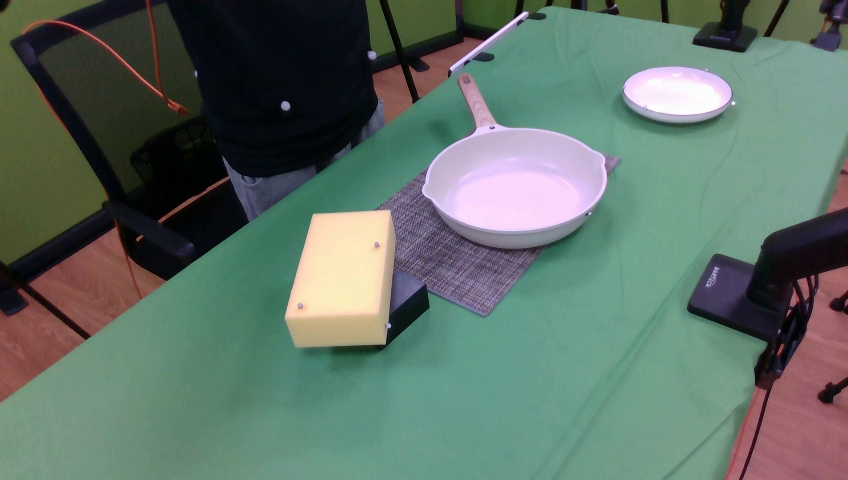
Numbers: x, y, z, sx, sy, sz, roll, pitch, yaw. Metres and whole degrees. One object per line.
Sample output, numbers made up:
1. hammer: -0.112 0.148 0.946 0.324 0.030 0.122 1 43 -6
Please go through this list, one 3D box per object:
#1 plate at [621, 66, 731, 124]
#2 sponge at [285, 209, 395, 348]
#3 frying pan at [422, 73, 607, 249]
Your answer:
1. plate: 0.503 -0.288 1.221 0.207 0.039 0.206 -4 41 4
2. sponge: -0.107 0.047 0.823 0.118 0.061 0.206 -4 41 4
3. frying pan: 0.130 -0.161 1.069 0.307 0.103 0.484 -10 49 -5
